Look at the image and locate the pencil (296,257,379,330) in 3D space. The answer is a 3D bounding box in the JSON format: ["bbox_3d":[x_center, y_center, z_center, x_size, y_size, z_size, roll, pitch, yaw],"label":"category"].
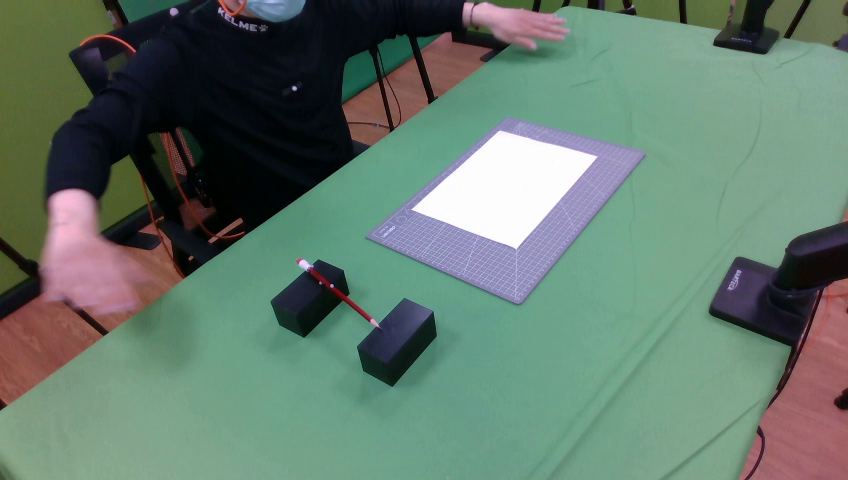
[{"bbox_3d":[-0.122,0.072,0.838,0.012,0.012,0.192,-33,49,-28],"label":"pencil"}]
